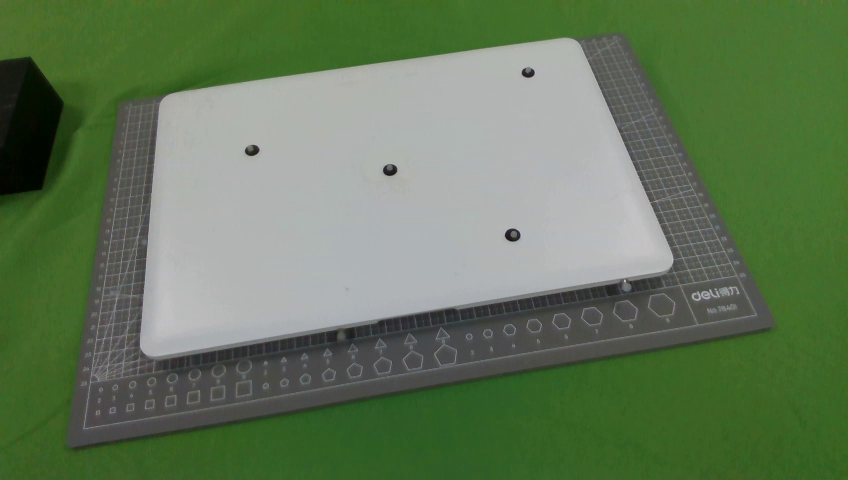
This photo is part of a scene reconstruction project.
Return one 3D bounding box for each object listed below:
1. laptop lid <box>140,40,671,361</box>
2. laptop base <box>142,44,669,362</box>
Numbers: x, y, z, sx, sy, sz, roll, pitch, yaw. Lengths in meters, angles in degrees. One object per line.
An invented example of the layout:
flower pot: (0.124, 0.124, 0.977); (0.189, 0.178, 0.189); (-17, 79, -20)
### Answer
laptop lid: (-0.024, -0.047, 0.448); (0.357, 0.013, 0.239); (-8, 59, -3)
laptop base: (-0.024, -0.043, 0.460); (0.355, 0.023, 0.233); (-9, 60, -4)
